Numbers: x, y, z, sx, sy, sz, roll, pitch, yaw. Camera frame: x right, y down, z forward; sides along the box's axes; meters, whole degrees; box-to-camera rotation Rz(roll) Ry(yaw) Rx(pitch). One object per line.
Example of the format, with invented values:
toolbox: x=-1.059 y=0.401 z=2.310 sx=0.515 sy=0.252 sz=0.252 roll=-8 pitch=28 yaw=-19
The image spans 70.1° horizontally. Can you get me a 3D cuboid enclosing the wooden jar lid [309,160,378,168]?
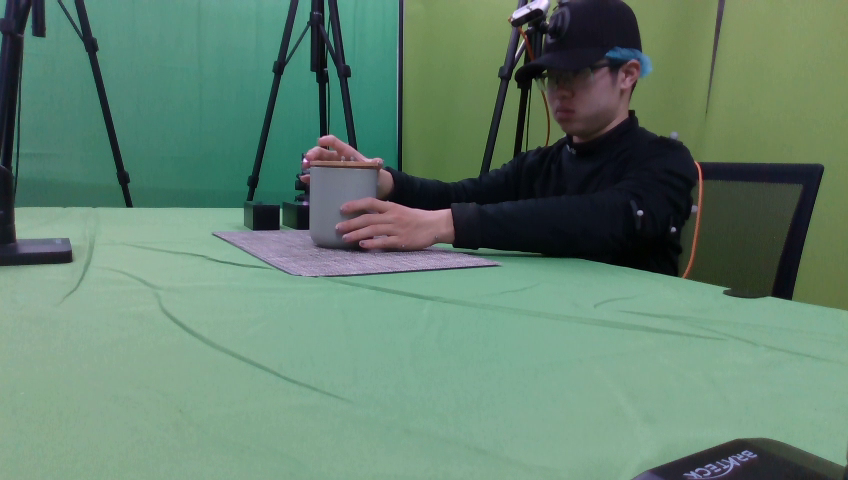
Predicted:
wooden jar lid: x=-0.127 y=-0.116 z=0.957 sx=0.108 sy=0.020 sz=0.108 roll=1 pitch=6 yaw=0

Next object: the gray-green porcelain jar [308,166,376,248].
gray-green porcelain jar: x=-0.131 y=-0.054 z=0.966 sx=0.106 sy=0.126 sz=0.106 roll=2 pitch=7 yaw=0
